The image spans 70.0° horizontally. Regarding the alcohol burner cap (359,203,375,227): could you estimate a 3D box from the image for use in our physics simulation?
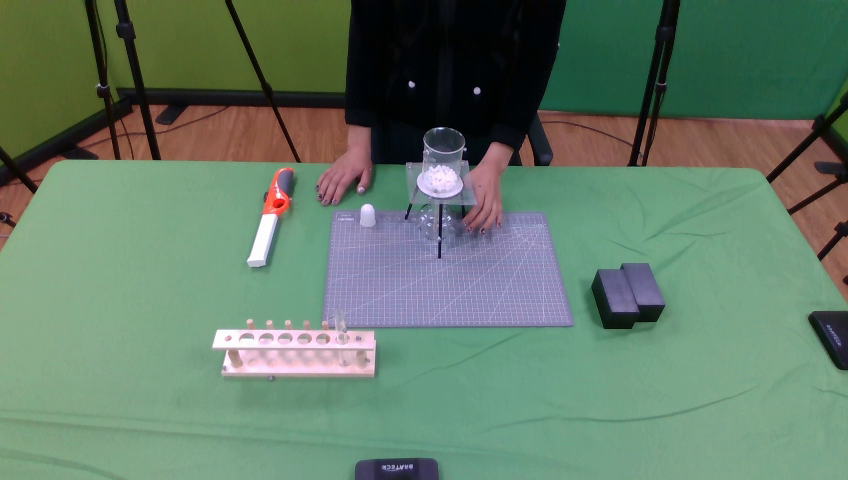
[{"bbox_3d":[-0.115,-0.053,1.224,0.034,0.048,0.033,3,47,-3],"label":"alcohol burner cap"}]

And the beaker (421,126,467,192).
[{"bbox_3d":[0.031,-0.146,1.100,0.074,0.101,0.083,-16,50,-20],"label":"beaker"}]

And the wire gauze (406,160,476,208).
[{"bbox_3d":[0.030,-0.107,1.130,0.125,0.011,0.120,1,48,-7],"label":"wire gauze"}]

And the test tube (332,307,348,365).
[{"bbox_3d":[-0.128,0.151,0.931,0.017,0.151,0.017,1,50,-2],"label":"test tube"}]

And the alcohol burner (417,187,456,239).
[{"bbox_3d":[0.025,-0.059,1.189,0.078,0.120,0.077,1,47,-1],"label":"alcohol burner"}]

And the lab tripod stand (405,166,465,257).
[{"bbox_3d":[0.030,-0.063,1.180,0.148,0.132,0.147,3,47,-3],"label":"lab tripod stand"}]

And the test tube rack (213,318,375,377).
[{"bbox_3d":[-0.202,0.169,0.977,0.242,0.085,0.066,1,46,-3],"label":"test tube rack"}]

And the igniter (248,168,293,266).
[{"bbox_3d":[-0.307,-0.055,1.225,0.057,0.025,0.275,-3,45,6],"label":"igniter"}]
